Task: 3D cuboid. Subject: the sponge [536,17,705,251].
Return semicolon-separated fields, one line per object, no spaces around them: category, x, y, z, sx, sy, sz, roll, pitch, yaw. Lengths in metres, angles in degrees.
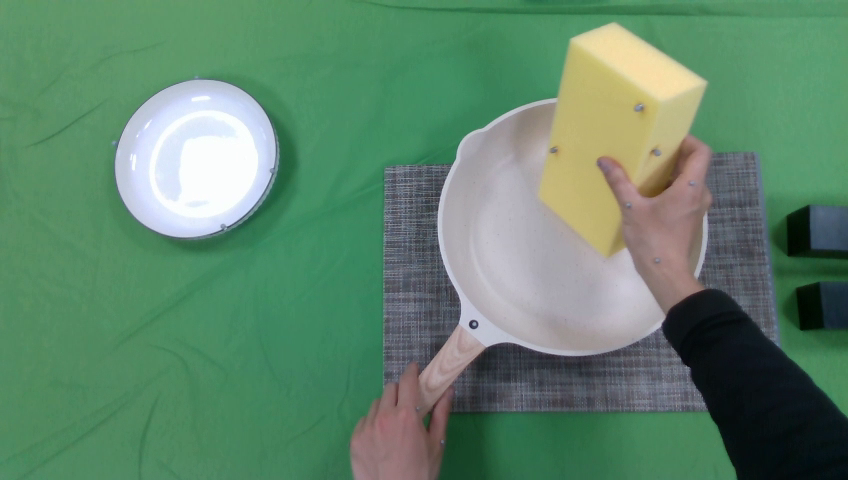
sponge;0.190;-0.102;0.628;0.061;0.208;0.117;-26;54;-22

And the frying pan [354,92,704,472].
frying pan;0.091;0.053;0.670;0.305;0.103;0.487;40;77;11

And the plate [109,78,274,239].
plate;-0.287;-0.100;0.765;0.207;0.039;0.207;-1;80;4
